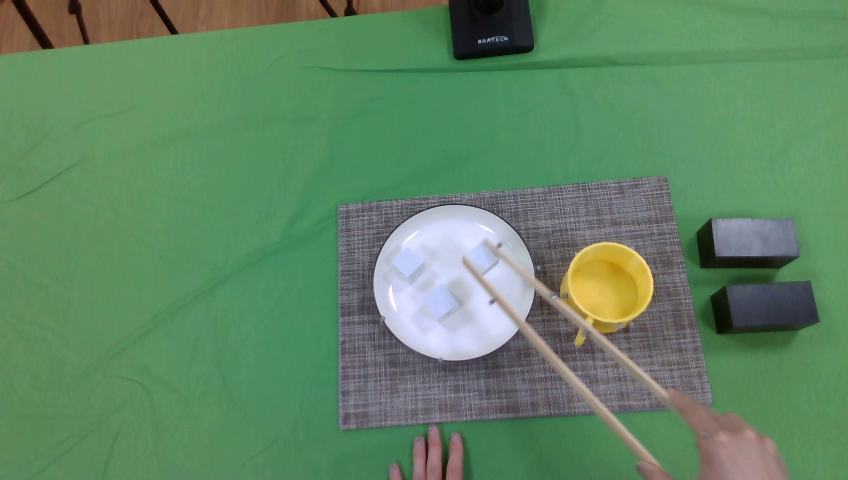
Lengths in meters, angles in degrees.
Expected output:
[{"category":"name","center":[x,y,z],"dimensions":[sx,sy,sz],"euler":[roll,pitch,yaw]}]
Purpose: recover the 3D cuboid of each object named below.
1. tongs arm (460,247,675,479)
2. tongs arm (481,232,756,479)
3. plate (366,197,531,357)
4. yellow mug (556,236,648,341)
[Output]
[{"category":"tongs arm","center":[0.150,0.127,0.602],"dimensions":[0.028,0.028,0.383],"euler":[-33,52,-12]},{"category":"tongs arm","center":[0.168,0.114,0.606],"dimensions":[0.051,0.027,0.380],"euler":[-39,53,-12]},{"category":"plate","center":[0.031,0.048,0.776],"dimensions":[0.207,0.039,0.206],"euler":[-1,72,4]},{"category":"yellow mug","center":[0.210,0.065,0.742],"dimensions":[0.099,0.064,0.130],"euler":[26,76,12]}]
